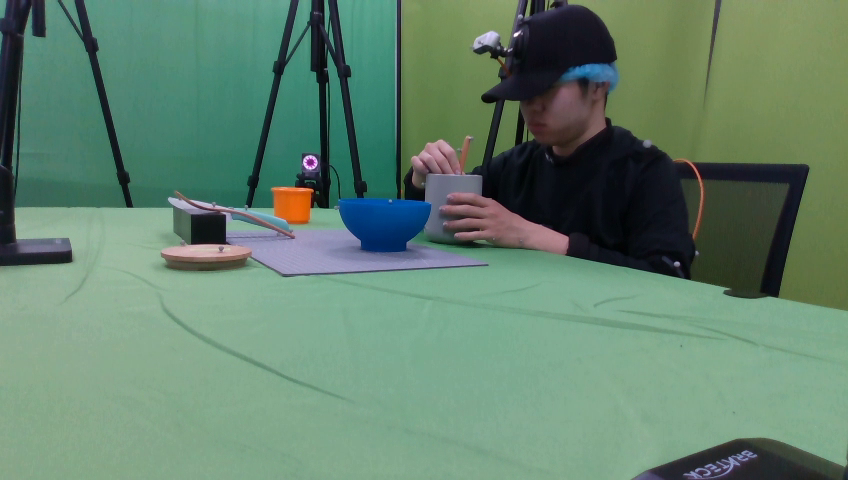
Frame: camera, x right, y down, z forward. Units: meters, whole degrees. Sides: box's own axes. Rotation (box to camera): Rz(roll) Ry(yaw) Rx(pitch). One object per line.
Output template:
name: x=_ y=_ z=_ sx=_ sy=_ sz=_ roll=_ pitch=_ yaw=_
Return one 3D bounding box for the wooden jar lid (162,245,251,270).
wooden jar lid: x=-0.279 y=0.022 z=0.777 sx=0.108 sy=0.020 sz=0.108 roll=2 pitch=6 yaw=0

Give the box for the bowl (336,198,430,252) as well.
bowl: x=-0.066 y=-0.024 z=0.967 sx=0.151 sy=0.077 sz=0.151 roll=2 pitch=7 yaw=0

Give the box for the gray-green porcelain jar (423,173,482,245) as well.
gray-green porcelain jar: x=0.052 y=-0.058 z=1.115 sx=0.106 sy=0.126 sz=0.106 roll=3 pitch=8 yaw=0

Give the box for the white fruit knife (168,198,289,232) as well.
white fruit knife: x=-0.329 y=-0.044 z=1.036 sx=0.208 sy=0.027 sz=0.016 roll=14 pitch=-1 yaw=-32

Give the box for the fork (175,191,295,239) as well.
fork: x=-0.306 y=-0.039 z=0.993 sx=0.208 sy=0.018 sz=0.028 roll=19 pitch=-9 yaw=-34
